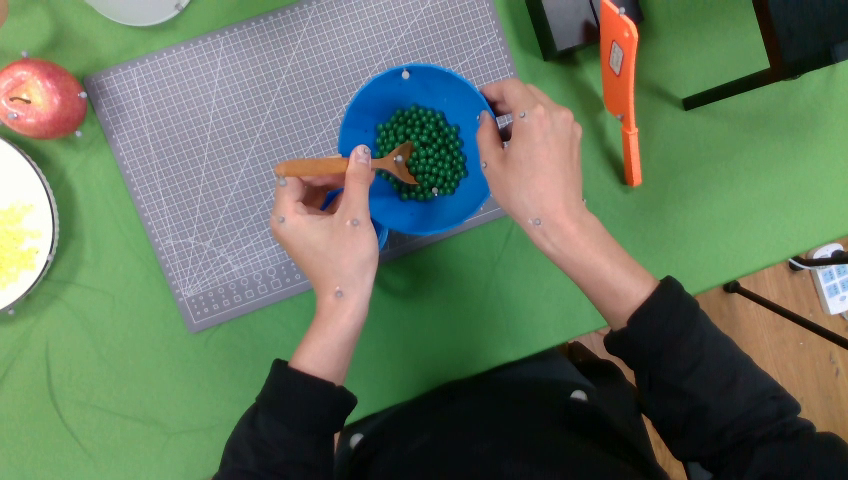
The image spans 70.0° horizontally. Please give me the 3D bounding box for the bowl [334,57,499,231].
[{"bbox_3d":[0.000,-0.089,0.565,0.151,0.077,0.152,3,103,14],"label":"bowl"}]

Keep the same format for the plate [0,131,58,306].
[{"bbox_3d":[-0.489,-0.025,0.633,0.209,0.038,0.209,0,95,-5],"label":"plate"}]

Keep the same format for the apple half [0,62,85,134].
[{"bbox_3d":[-0.383,-0.136,0.617,0.081,0.074,0.053,-36,101,-5],"label":"apple half"}]

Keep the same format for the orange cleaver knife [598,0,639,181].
[{"bbox_3d":[0.214,-0.164,0.668,0.012,0.076,0.213,-22,127,-4],"label":"orange cleaver knife"}]

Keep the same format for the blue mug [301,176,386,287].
[{"bbox_3d":[-0.078,-0.007,0.639,0.082,0.105,0.116,-13,96,-4],"label":"blue mug"}]

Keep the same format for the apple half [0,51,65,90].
[{"bbox_3d":[-0.405,-0.168,0.611,0.081,0.081,0.033,-35,102,-2],"label":"apple half"}]

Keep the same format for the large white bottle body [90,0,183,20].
[{"bbox_3d":[-0.298,-0.293,0.556,0.131,0.184,0.130,0,94,-5],"label":"large white bottle body"}]

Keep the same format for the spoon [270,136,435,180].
[{"bbox_3d":[-0.051,-0.070,0.514,0.021,0.194,0.041,2,98,34],"label":"spoon"}]
